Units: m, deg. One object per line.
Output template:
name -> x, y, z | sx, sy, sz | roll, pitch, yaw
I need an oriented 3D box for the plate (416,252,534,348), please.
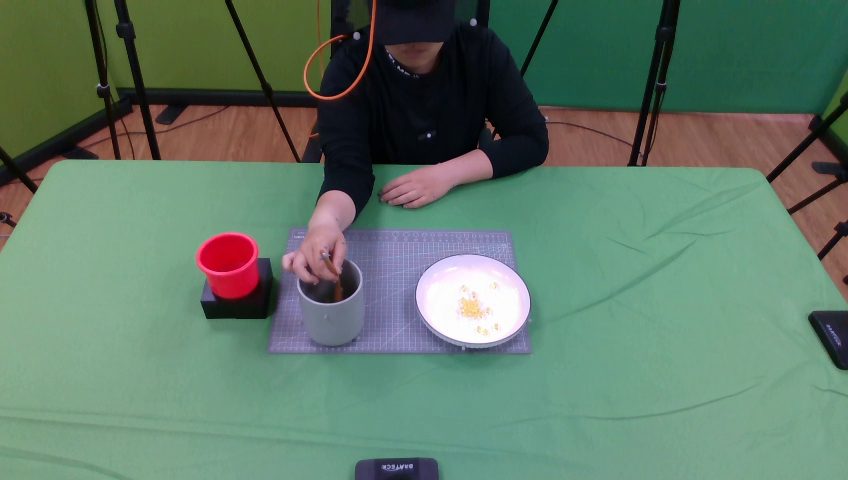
plate -> 0.090, 0.109, 1.084 | 0.208, 0.039, 0.206 | 2, 46, -2

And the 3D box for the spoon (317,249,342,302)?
spoon -> -0.146, 0.067, 0.982 | 0.021, 0.195, 0.041 | -25, 56, -14

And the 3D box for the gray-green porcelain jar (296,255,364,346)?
gray-green porcelain jar -> -0.153, 0.106, 1.008 | 0.106, 0.127, 0.105 | 2, 46, -2
